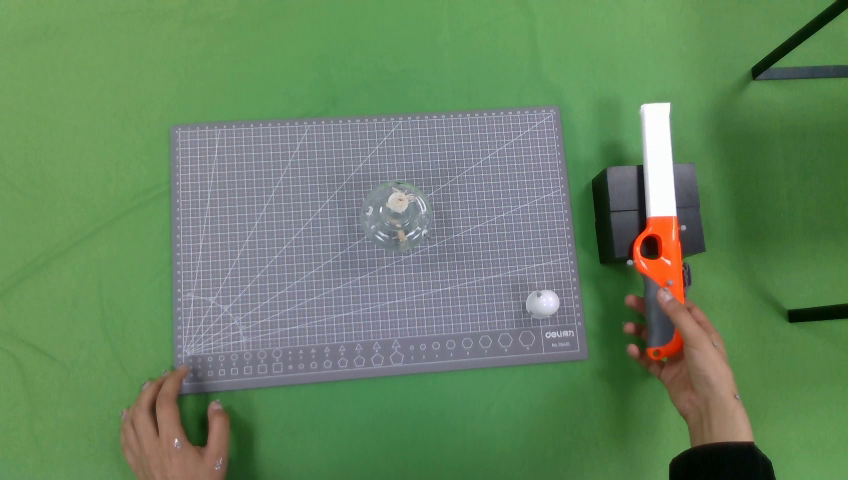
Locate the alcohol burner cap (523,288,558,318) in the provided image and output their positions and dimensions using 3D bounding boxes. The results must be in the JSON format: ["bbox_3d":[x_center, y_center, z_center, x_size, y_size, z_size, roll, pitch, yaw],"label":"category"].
[{"bbox_3d":[0.129,0.068,0.664,0.034,0.048,0.033,1,80,-3],"label":"alcohol burner cap"}]

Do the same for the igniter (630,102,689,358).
[{"bbox_3d":[0.249,-0.013,0.647,0.057,0.025,0.275,0,80,8],"label":"igniter"}]

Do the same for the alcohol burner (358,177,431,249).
[{"bbox_3d":[-0.030,-0.031,0.633,0.078,0.119,0.077,1,81,-5],"label":"alcohol burner"}]
